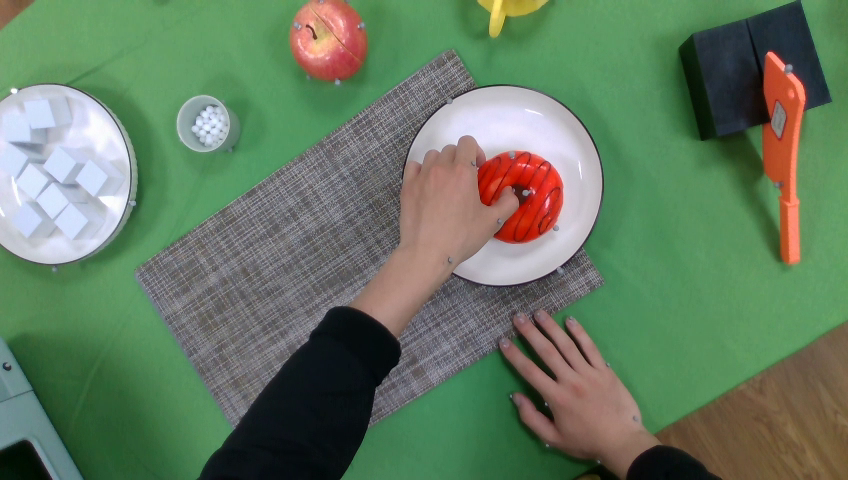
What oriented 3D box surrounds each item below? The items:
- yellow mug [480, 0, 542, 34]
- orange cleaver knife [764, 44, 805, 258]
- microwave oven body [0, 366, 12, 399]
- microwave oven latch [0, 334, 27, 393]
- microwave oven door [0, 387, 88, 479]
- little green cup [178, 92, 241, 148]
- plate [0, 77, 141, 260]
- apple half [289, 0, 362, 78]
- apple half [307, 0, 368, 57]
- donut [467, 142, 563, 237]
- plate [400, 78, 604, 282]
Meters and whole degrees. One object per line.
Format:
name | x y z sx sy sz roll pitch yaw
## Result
yellow mug | 0.085 -0.274 0.609 0.100 0.064 0.131 15 97 6
orange cleaver knife | 0.342 -0.079 0.582 0.012 0.076 0.213 -13 122 12
microwave oven body | -0.553 0.377 0.639 0.326 0.260 0.441 -30 90 8
microwave oven latch | -0.504 0.145 0.713 0.030 0.029 0.079 -27 91 8
microwave oven door | -0.408 0.341 0.612 0.039 0.244 0.355 -31 89 8
little green cup | -0.237 -0.131 0.676 0.061 0.038 0.061 0 94 8
plate | -0.422 -0.081 0.704 0.207 0.039 0.207 0 94 8
apple half | -0.109 -0.203 0.637 0.053 0.074 0.081 -42 91 13
apple half | -0.081 -0.229 0.630 0.033 0.081 0.081 -42 87 13
donut | 0.094 -0.052 0.624 0.099 0.048 0.099 1 98 11
plate | 0.080 -0.061 0.636 0.209 0.038 0.209 0 94 8
